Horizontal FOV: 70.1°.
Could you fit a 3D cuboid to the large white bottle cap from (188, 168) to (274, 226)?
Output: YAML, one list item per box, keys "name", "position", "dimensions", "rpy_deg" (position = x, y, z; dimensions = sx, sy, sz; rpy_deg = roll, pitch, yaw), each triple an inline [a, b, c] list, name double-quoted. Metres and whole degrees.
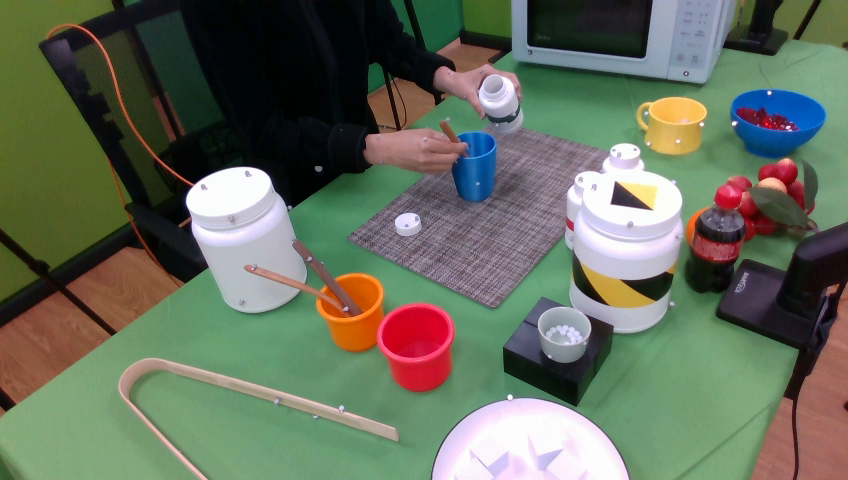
- name: "large white bottle cap"
  position: [-0.264, -0.061, 0.831]
  dimensions: [0.115, 0.018, 0.114]
  rpy_deg: [-4, 40, 4]

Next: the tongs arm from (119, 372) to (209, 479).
- name: "tongs arm"
  position: [-0.258, 0.257, 0.700]
  dimensions: [0.384, 0.028, 0.028]
  rpy_deg: [24, 55, 34]

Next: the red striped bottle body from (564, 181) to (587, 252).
- name: "red striped bottle body"
  position: [0.246, -0.041, 0.910]
  dimensions: [0.063, 0.120, 0.062]
  rpy_deg: [-2, 38, 2]

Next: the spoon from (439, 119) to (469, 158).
- name: "spoon"
  position: [0.060, -0.144, 0.975]
  dimensions: [0.041, 0.195, 0.021]
  rpy_deg: [-14, 62, 19]

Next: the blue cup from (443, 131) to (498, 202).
- name: "blue cup"
  position: [0.086, -0.122, 1.039]
  dimensions: [0.092, 0.100, 0.092]
  rpy_deg: [-4, 42, 4]

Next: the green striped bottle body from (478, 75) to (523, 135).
- name: "green striped bottle body"
  position: [0.133, -0.238, 1.058]
  dimensions: [0.063, 0.120, 0.063]
  rpy_deg: [-6, 69, 17]

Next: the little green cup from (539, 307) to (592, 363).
- name: "little green cup"
  position: [0.168, 0.115, 0.721]
  dimensions: [0.061, 0.039, 0.061]
  rpy_deg: [-4, 42, 4]

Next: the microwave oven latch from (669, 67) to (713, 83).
- name: "microwave oven latch"
  position: [0.556, -0.349, 1.261]
  dimensions: [0.078, 0.029, 0.030]
  rpy_deg: [16, 46, 27]

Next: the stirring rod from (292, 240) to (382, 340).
- name: "stirring rod"
  position: [-0.119, 0.068, 0.826]
  dimensions: [0.176, 0.006, 0.014]
  rpy_deg: [49, 58, -4]

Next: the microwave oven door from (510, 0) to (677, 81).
- name: "microwave oven door"
  position: [0.354, -0.478, 1.290]
  dimensions: [0.353, 0.245, 0.039]
  rpy_deg: [15, 45, 25]

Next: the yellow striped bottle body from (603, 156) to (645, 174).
- name: "yellow striped bottle body"
  position: [0.313, -0.089, 0.956]
  dimensions: [0.063, 0.121, 0.062]
  rpy_deg: [-5, 39, 4]

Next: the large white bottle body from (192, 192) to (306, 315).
- name: "large white bottle body"
  position: [-0.256, 0.004, 0.885]
  dimensions: [0.130, 0.185, 0.130]
  rpy_deg: [-4, 40, 4]

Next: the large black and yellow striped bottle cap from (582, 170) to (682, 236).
- name: "large black and yellow striped bottle cap"
  position: [0.252, -0.048, 0.735]
  dimensions: [0.115, 0.019, 0.114]
  rpy_deg: [-3, 40, 3]

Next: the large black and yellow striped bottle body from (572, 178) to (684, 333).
- name: "large black and yellow striped bottle body"
  position: [0.262, 0.017, 0.788]
  dimensions: [0.131, 0.185, 0.130]
  rpy_deg: [-5, 40, 4]

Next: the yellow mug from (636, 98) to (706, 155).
- name: "yellow mug"
  position: [0.453, -0.217, 1.129]
  dimensions: [0.100, 0.064, 0.129]
  rpy_deg: [-34, 46, -27]

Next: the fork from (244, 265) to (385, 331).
- name: "fork"
  position: [-0.142, 0.078, 0.806]
  dimensions: [0.209, 0.018, 0.028]
  rpy_deg: [30, 32, -23]

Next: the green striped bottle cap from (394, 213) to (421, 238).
- name: "green striped bottle cap"
  position: [-0.028, -0.025, 1.010]
  dimensions: [0.044, 0.020, 0.044]
  rpy_deg: [-2, 43, 3]

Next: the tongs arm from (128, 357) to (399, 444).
- name: "tongs arm"
  position: [-0.213, 0.205, 0.755]
  dimensions: [0.382, 0.026, 0.051]
  rpy_deg: [12, 46, 23]

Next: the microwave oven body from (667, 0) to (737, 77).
- name: "microwave oven body"
  position: [0.462, -0.552, 1.368]
  dimensions: [0.439, 0.261, 0.326]
  rpy_deg: [14, 45, 26]

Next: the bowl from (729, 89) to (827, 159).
- name: "bowl"
  position: [0.615, -0.197, 1.069]
  dimensions: [0.151, 0.077, 0.150]
  rpy_deg: [-5, 40, 5]

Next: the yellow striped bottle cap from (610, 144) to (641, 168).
- name: "yellow striped bottle cap"
  position: [0.307, -0.128, 0.923]
  dimensions: [0.044, 0.019, 0.044]
  rpy_deg: [-6, 39, 5]

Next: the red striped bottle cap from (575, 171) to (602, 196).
- name: "red striped bottle cap"
  position: [0.242, -0.081, 0.876]
  dimensions: [0.044, 0.018, 0.044]
  rpy_deg: [-5, 44, 5]

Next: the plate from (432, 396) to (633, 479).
- name: "plate"
  position: [0.112, 0.261, 0.634]
  dimensions: [0.209, 0.038, 0.208]
  rpy_deg: [-5, 40, 4]
